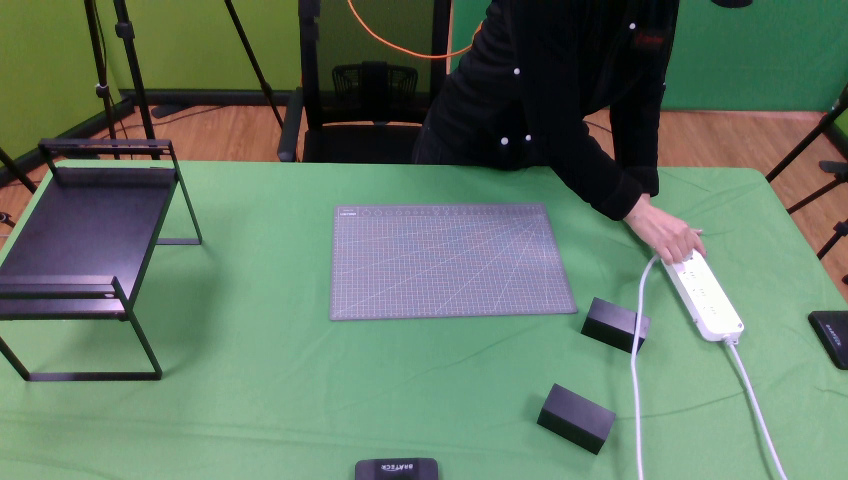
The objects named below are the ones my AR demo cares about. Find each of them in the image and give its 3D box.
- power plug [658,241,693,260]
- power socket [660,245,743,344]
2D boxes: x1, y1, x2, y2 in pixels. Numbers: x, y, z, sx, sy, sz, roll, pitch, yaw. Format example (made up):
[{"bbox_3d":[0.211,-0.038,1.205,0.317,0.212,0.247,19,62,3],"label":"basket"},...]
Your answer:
[{"bbox_3d":[0.474,0.017,1.153,0.072,0.053,0.035,11,62,5],"label":"power plug"},{"bbox_3d":[0.516,0.094,1.136,0.072,0.033,0.225,-4,47,-7],"label":"power socket"}]
